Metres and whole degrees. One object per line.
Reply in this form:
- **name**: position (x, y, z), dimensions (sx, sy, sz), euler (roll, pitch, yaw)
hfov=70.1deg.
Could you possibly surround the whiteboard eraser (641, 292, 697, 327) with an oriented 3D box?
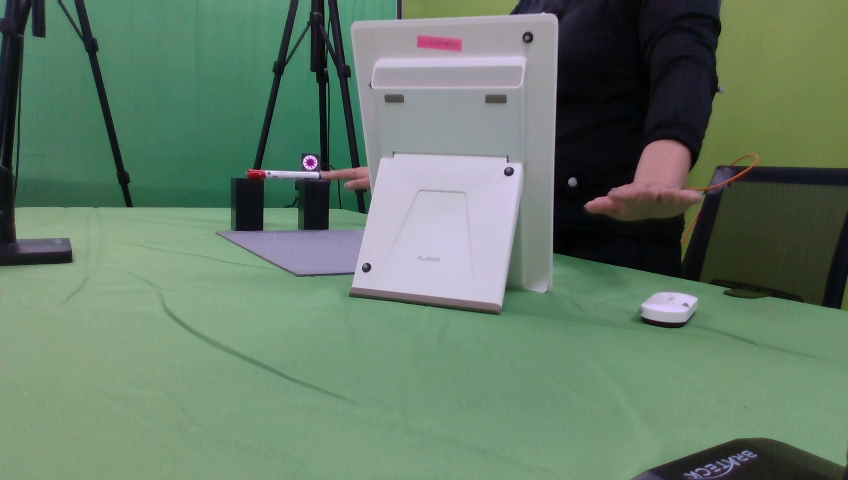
- **whiteboard eraser**: position (0.240, 0.066, 0.590), dimensions (0.041, 0.019, 0.102), euler (6, 7, 31)

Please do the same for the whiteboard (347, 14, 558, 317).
- **whiteboard**: position (0.012, -0.056, 0.609), dimensions (0.216, 0.305, 0.144), euler (5, 27, 20)

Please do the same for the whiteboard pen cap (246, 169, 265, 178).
- **whiteboard pen cap**: position (-0.318, -0.125, 1.143), dimensions (0.032, 0.017, 0.017), euler (-1, 8, -35)

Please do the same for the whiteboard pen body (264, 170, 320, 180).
- **whiteboard pen body**: position (-0.268, -0.127, 1.178), dimensions (0.141, 0.017, 0.017), euler (-2, 8, -36)
